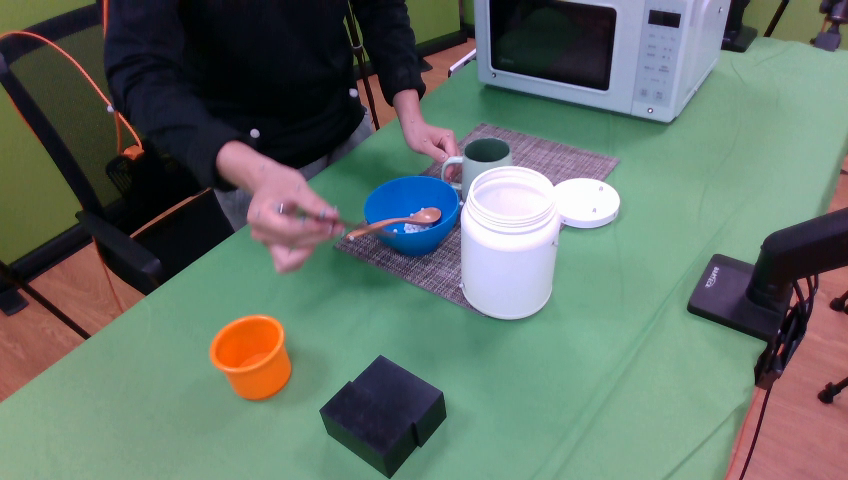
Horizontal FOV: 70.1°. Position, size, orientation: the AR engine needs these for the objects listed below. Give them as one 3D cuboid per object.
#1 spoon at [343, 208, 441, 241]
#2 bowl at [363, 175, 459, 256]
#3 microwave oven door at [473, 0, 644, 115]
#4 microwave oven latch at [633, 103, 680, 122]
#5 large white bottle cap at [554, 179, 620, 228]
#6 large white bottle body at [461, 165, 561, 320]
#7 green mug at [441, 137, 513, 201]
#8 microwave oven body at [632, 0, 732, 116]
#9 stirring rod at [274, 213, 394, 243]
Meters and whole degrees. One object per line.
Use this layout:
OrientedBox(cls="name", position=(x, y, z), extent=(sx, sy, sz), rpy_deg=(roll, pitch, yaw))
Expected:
OrientedBox(cls="spoon", position=(-0.046, -0.025, 0.911), extent=(0.041, 0.021, 0.195), rpy_deg=(27, 27, 37))
OrientedBox(cls="bowl", position=(-0.017, -0.029, 0.955), extent=(0.151, 0.077, 0.150), rpy_deg=(-4, 40, 4))
OrientedBox(cls="microwave oven door", position=(0.257, -0.396, 1.199), extent=(0.353, 0.245, 0.039), rpy_deg=(21, 48, 29))
OrientedBox(cls="microwave oven latch", position=(0.444, -0.249, 1.158), extent=(0.078, 0.029, 0.030), rpy_deg=(21, 49, 30))
OrientedBox(cls="large white bottle cap", position=(0.265, -0.062, 1.001), extent=(0.115, 0.018, 0.114), rpy_deg=(-3, 41, 3))
OrientedBox(cls="large white bottle body", position=(0.115, 0.004, 0.816), extent=(0.130, 0.185, 0.130), rpy_deg=(-2, 43, 2))
OrientedBox(cls="green mug", position=(0.091, -0.108, 1.012), extent=(0.125, 0.105, 0.092), rpy_deg=(2, 42, 12))
OrientedBox(cls="microwave oven body", position=(0.377, -0.463, 1.267), extent=(0.438, 0.261, 0.327), rpy_deg=(21, 49, 30))
OrientedBox(cls="stirring rod", position=(-0.091, -0.011, 0.654), extent=(0.014, 0.178, 0.006), rpy_deg=(4, 84, 36))
